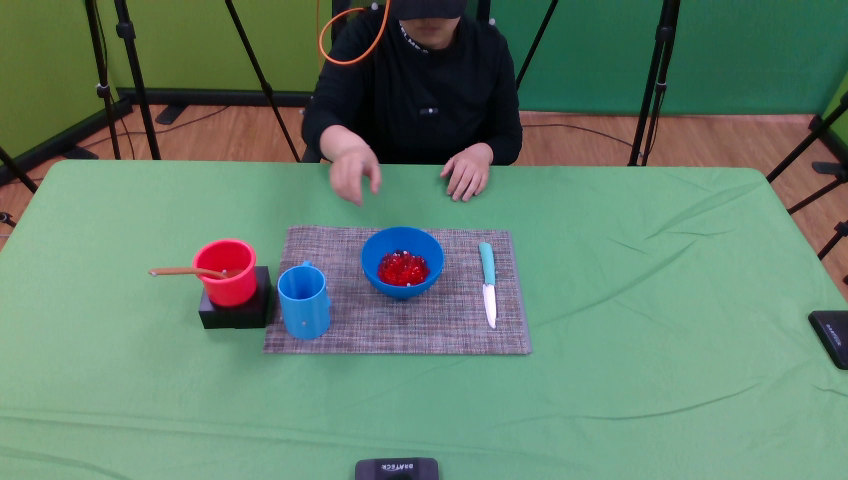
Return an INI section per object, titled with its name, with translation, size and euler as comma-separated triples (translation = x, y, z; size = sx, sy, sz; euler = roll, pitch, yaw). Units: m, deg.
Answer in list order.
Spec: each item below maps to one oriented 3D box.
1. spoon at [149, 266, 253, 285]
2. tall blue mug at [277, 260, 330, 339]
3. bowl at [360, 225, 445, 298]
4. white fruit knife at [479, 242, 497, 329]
[spoon]
translation = -0.351, 0.052, 0.968
size = 0.041, 0.021, 0.194
euler = 41, 12, 28
[tall blue mug]
translation = -0.208, 0.094, 1.025
size = 0.078, 0.108, 0.106
euler = -21, 51, -21
[bowl]
translation = -0.040, 0.052, 1.099
size = 0.151, 0.077, 0.150
euler = 2, 46, -2
[white fruit knife]
translation = 0.123, 0.080, 1.130
size = 0.027, 0.016, 0.206
euler = -19, 45, 19
